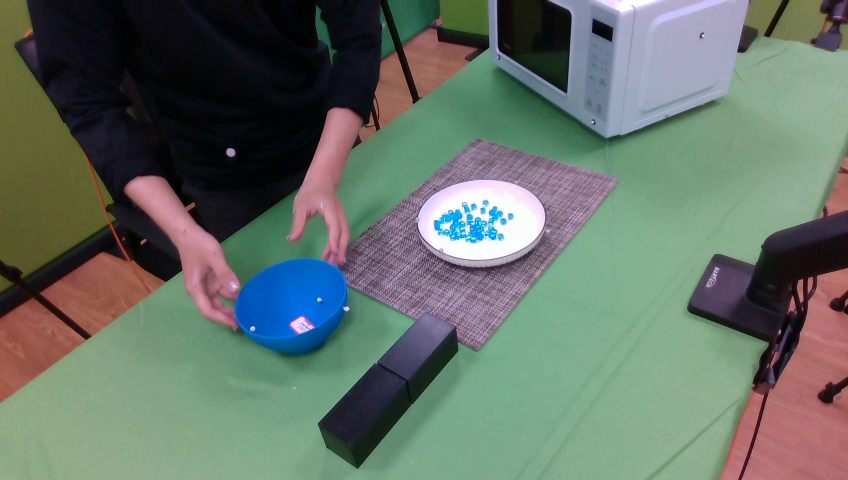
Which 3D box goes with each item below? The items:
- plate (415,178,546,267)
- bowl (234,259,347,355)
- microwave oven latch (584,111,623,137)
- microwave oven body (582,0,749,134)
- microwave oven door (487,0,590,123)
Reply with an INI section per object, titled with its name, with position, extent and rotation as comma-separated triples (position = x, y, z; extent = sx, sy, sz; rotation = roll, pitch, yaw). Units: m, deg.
[plate]
position = 0.091, -0.026, 0.970
extent = 0.207, 0.039, 0.206
rotation = -4, 41, 4
[bowl]
position = -0.174, 0.104, 0.831
extent = 0.151, 0.077, 0.150
rotation = -4, 40, 4
[microwave oven latch]
position = 0.337, -0.222, 1.142
extent = 0.030, 0.029, 0.078
rotation = -21, 42, -14
[microwave oven body]
position = 0.382, -0.444, 1.246
extent = 0.327, 0.261, 0.437
rotation = -22, 42, -16
[microwave oven door]
position = 0.232, -0.420, 1.230
extent = 0.039, 0.245, 0.352
rotation = -22, 43, -16
